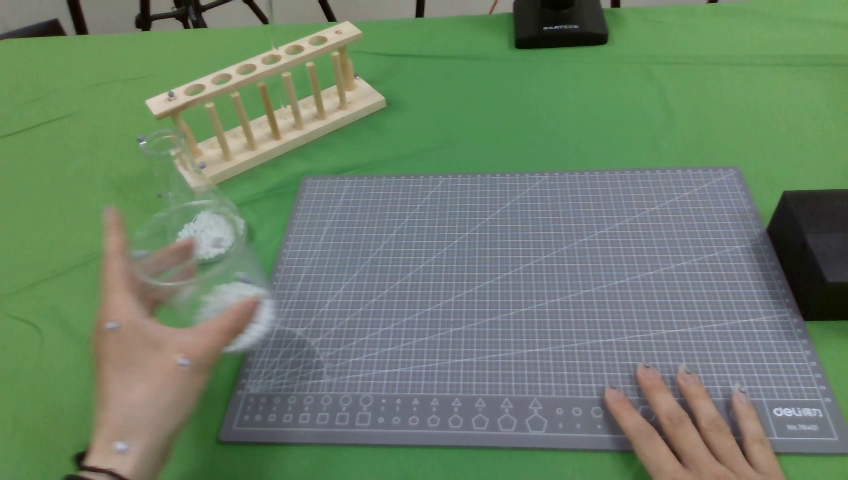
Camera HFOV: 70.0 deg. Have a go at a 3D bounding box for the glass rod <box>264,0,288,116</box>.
[{"bbox_3d":[-0.163,-0.223,0.651,0.008,0.201,0.008,0,40,0],"label":"glass rod"}]

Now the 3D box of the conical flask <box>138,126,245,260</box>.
[{"bbox_3d":[-0.218,-0.045,0.558,0.075,0.123,0.074,-3,47,3],"label":"conical flask"}]

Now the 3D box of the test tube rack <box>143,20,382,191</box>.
[{"bbox_3d":[-0.171,-0.155,0.679,0.242,0.086,0.066,-30,51,-20],"label":"test tube rack"}]

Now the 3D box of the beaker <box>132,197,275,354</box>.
[{"bbox_3d":[-0.154,0.029,0.444,0.074,0.101,0.083,5,50,8],"label":"beaker"}]
